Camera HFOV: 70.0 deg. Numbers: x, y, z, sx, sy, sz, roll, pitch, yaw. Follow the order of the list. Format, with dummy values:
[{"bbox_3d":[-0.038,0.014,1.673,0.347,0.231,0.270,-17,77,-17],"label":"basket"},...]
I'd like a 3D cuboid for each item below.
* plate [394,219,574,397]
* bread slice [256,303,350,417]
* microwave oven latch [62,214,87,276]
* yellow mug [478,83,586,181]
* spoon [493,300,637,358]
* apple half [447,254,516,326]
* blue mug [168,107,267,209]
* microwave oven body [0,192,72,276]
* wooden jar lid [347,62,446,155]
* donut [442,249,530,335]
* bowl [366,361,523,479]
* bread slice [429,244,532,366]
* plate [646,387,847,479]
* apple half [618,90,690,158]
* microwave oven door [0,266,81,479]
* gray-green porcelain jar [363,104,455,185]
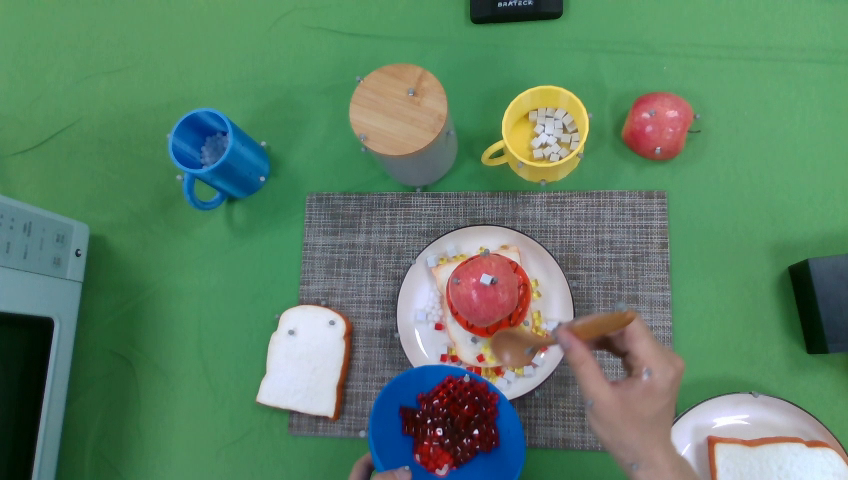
[{"bbox_3d":[0.069,0.080,0.711,0.207,0.039,0.206,-2,79,9],"label":"plate"},{"bbox_3d":[-0.146,0.142,0.744,0.104,0.019,0.131,8,82,9],"label":"bread slice"},{"bbox_3d":[-0.465,0.007,0.792,0.030,0.029,0.079,4,80,9],"label":"microwave oven latch"},{"bbox_3d":[0.127,-0.122,0.730,0.131,0.064,0.099,-22,76,5],"label":"yellow mug"},{"bbox_3d":[0.111,0.076,0.505,0.021,0.194,0.041,-36,90,-24],"label":"spoon"},{"bbox_3d":[0.062,0.051,0.651,0.081,0.033,0.081,-4,75,15],"label":"apple half"},{"bbox_3d":[-0.264,-0.094,0.764,0.082,0.106,0.116,21,83,12],"label":"blue mug"},{"bbox_3d":[-0.633,0.161,0.690,0.325,0.261,0.440,0,80,9],"label":"microwave oven body"},{"bbox_3d":[-0.029,-0.142,0.661,0.108,0.021,0.108,-1,77,6],"label":"wooden jar lid"},{"bbox_3d":[0.070,0.059,0.686,0.099,0.048,0.098,-2,80,10],"label":"donut"},{"bbox_3d":[0.013,0.203,0.590,0.152,0.077,0.150,8,42,-7],"label":"bowl"},{"bbox_3d":[0.074,0.078,0.710,0.107,0.018,0.133,-16,78,6],"label":"bread slice"},{"bbox_3d":[0.339,0.260,0.637,0.209,0.038,0.208,-2,79,9],"label":"plate"},{"bbox_3d":[0.274,-0.144,0.718,0.074,0.053,0.080,23,84,15],"label":"apple half"},{"bbox_3d":[-0.492,0.202,0.654,0.039,0.245,0.354,0,79,10],"label":"microwave oven door"},{"bbox_3d":[-0.018,-0.129,0.723,0.106,0.127,0.105,-2,78,9],"label":"gray-green porcelain jar"}]
